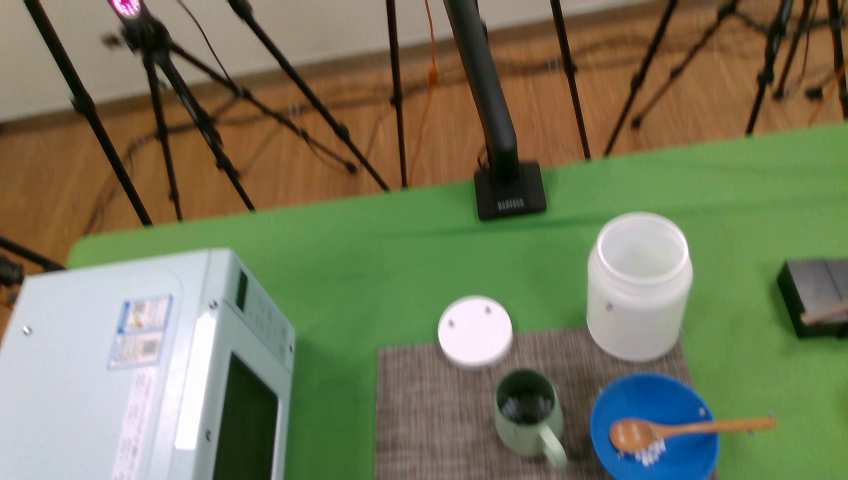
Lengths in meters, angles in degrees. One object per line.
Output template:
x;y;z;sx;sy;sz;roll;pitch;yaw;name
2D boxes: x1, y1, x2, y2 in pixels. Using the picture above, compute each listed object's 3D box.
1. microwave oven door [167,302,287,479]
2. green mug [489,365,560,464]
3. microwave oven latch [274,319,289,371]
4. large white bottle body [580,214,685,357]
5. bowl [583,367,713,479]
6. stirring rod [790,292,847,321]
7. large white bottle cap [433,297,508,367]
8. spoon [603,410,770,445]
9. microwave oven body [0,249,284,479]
-0.237;0.286;0.741;0.039;0.246;0.352;-9;54;7;microwave oven door
0.138;0.235;0.796;0.092;0.106;0.124;-29;55;-9;green mug
-0.229;0.166;0.949;0.030;0.030;0.078;-8;55;6;microwave oven latch
0.283;0.063;0.834;0.130;0.186;0.129;-6;51;8;large white bottle body
0.280;0.248;0.772;0.151;0.077;0.150;-6;55;9;bowl
0.579;0.074;0.817;0.176;0.006;0.014;-20;60;0;stirring rod
0.071;0.140;0.931;0.114;0.018;0.113;-6;54;8;large white bottle cap
0.317;0.225;0.744;0.193;0.022;0.041;-17;53;31;spoon
-0.382;0.277;0.785;0.326;0.263;0.437;-8;55;6;microwave oven body
